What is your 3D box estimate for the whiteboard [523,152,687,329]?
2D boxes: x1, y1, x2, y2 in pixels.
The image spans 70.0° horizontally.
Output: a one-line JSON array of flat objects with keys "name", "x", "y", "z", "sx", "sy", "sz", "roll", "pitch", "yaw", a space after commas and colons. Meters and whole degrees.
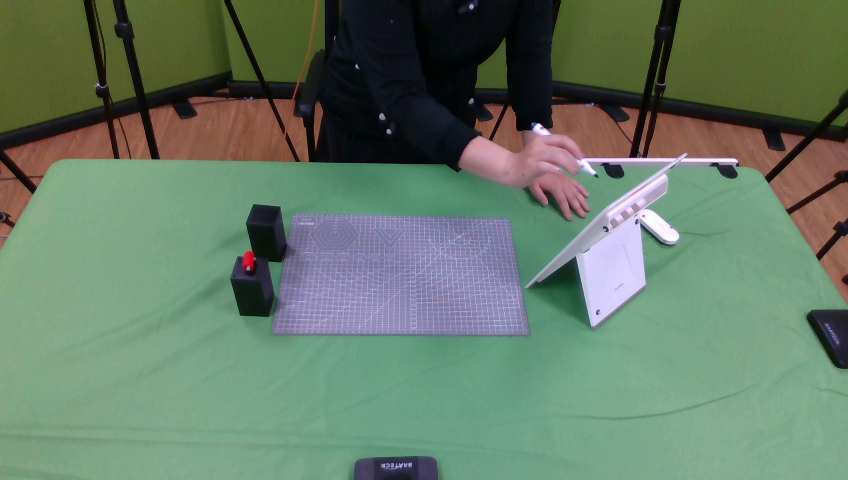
[{"name": "whiteboard", "x": 0.347, "y": 0.025, "z": 1.046, "sx": 0.217, "sy": 0.306, "sz": 0.143, "roll": -30, "pitch": 74, "yaw": -29}]

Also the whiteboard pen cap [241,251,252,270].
[{"name": "whiteboard pen cap", "x": -0.294, "y": 0.033, "z": 1.006, "sx": 0.017, "sy": 0.017, "sz": 0.032, "roll": -3, "pitch": 44, "yaw": -7}]

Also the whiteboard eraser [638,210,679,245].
[{"name": "whiteboard eraser", "x": 0.485, "y": -0.027, "z": 1.260, "sx": 0.041, "sy": 0.019, "sz": 0.100, "roll": -21, "pitch": 50, "yaw": -21}]

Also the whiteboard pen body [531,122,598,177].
[{"name": "whiteboard pen body", "x": 0.231, "y": -0.147, "z": 0.992, "sx": 0.140, "sy": 0.017, "sz": 0.017, "roll": 43, "pitch": 56, "yaw": 16}]
